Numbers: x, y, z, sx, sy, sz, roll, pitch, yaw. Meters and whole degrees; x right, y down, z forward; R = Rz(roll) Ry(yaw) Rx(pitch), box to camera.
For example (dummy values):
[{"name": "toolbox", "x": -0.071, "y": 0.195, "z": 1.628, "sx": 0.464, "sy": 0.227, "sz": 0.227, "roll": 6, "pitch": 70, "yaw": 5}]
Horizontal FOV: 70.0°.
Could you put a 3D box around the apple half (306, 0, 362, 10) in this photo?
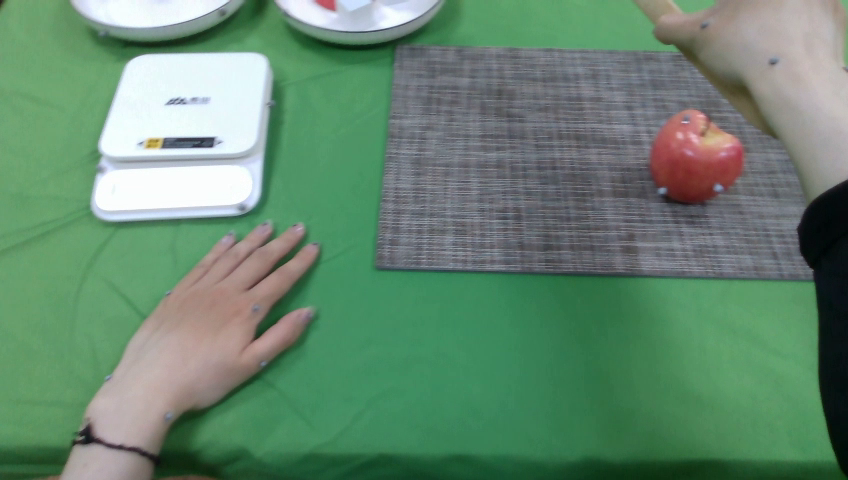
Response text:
[{"name": "apple half", "x": -0.106, "y": -0.308, "z": 0.719, "sx": 0.081, "sy": 0.033, "sz": 0.080, "roll": -1, "pitch": 53, "yaw": 1}]

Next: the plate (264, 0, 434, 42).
[{"name": "plate", "x": -0.085, "y": -0.298, "z": 0.719, "sx": 0.209, "sy": 0.038, "sz": 0.207, "roll": 1, "pitch": 55, "yaw": -1}]

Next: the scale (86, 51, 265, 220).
[{"name": "scale", "x": -0.235, "y": -0.108, "z": 0.588, "sx": 0.149, "sy": 0.032, "sz": 0.199, "roll": -3, "pitch": 56, "yaw": -3}]

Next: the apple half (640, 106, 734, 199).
[{"name": "apple half", "x": 0.227, "y": -0.072, "z": 0.546, "sx": 0.053, "sy": 0.075, "sz": 0.080, "roll": -33, "pitch": 65, "yaw": -17}]

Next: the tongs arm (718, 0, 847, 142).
[{"name": "tongs arm", "x": 0.201, "y": -0.226, "z": 0.493, "sx": 0.051, "sy": 0.027, "sz": 0.381, "roll": -22, "pitch": 60, "yaw": -12}]

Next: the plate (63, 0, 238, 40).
[{"name": "plate", "x": -0.311, "y": -0.300, "z": 0.714, "sx": 0.208, "sy": 0.039, "sz": 0.205, "roll": 1, "pitch": 55, "yaw": -1}]

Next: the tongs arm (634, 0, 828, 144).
[{"name": "tongs arm", "x": 0.174, "y": -0.216, "z": 0.488, "sx": 0.028, "sy": 0.028, "sz": 0.383, "roll": -18, "pitch": 60, "yaw": -14}]
